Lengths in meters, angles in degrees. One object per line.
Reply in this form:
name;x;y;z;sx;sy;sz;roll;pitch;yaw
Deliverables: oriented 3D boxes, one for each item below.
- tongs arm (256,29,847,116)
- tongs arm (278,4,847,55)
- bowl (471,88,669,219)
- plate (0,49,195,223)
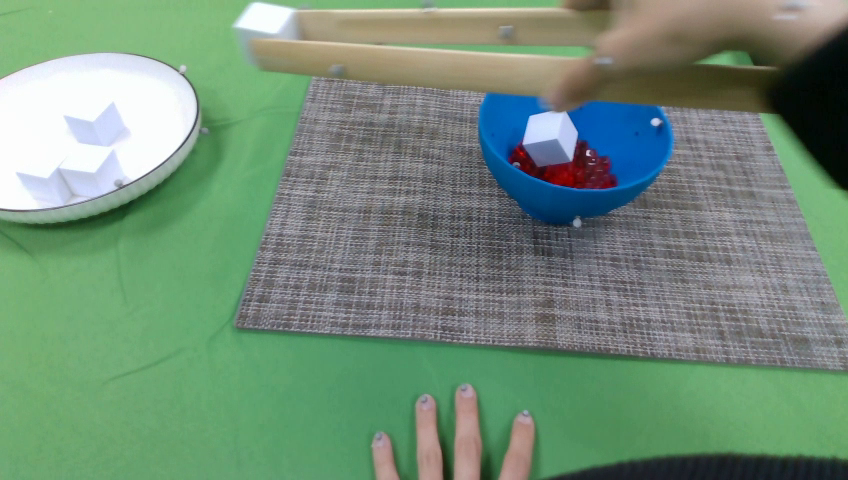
tongs arm;0.066;-0.099;0.339;0.385;0.028;0.028;11;47;22
tongs arm;0.075;-0.115;0.351;0.383;0.027;0.050;7;50;19
bowl;0.110;-0.070;0.497;0.151;0.077;0.150;1;51;-1
plate;-0.304;-0.090;0.524;0.209;0.038;0.207;2;51;-2
